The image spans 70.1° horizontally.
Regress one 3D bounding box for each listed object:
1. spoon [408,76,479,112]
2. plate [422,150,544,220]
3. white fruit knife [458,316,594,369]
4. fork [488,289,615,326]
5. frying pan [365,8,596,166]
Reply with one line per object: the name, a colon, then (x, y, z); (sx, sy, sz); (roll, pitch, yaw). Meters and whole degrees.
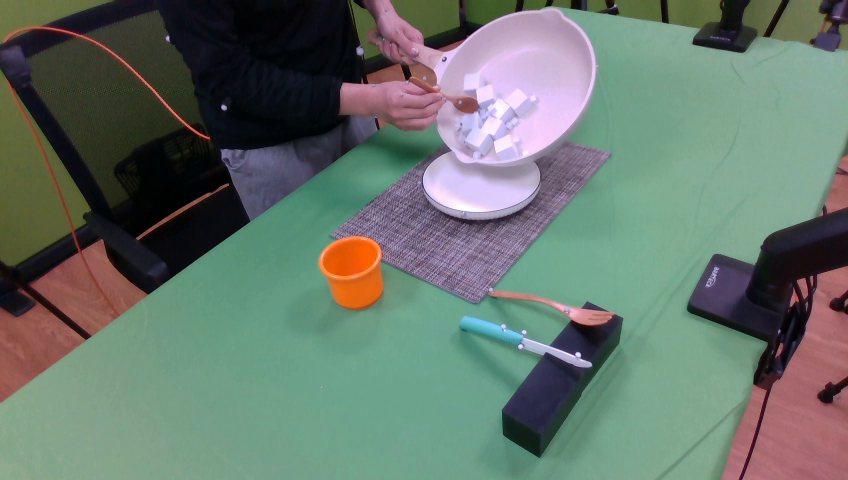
spoon: (0.036, -0.250, 1.035); (0.041, 0.021, 0.195); (-21, -13, 32)
plate: (0.102, -0.097, 1.048); (0.207, 0.039, 0.206); (-4, 40, 4)
white fruit knife: (0.120, 0.126, 0.756); (0.205, 0.027, 0.016); (12, 43, 43)
fork: (0.160, 0.086, 0.800); (0.205, 0.019, 0.028); (12, 48, 48)
frying pan: (0.078, -0.304, 1.098); (0.484, 0.103, 0.306); (31, 88, 25)
